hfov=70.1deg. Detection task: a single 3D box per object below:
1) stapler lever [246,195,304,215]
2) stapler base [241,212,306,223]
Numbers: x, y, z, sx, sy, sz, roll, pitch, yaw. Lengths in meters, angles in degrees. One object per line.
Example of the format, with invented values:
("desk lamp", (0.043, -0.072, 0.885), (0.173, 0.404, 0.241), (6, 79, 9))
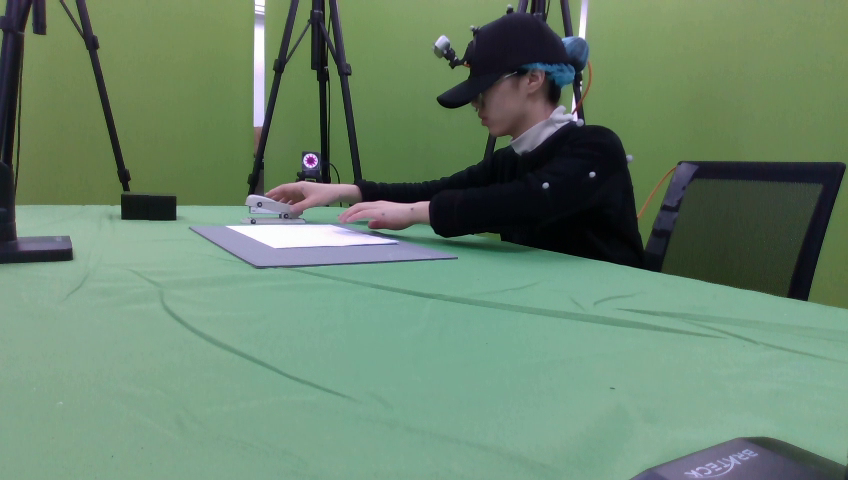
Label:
("stapler lever", (-0.313, -0.073, 1.270), (0.119, 0.040, 0.026), (0, 10, -31))
("stapler base", (-0.316, -0.048, 1.272), (0.131, 0.024, 0.041), (0, 10, -31))
